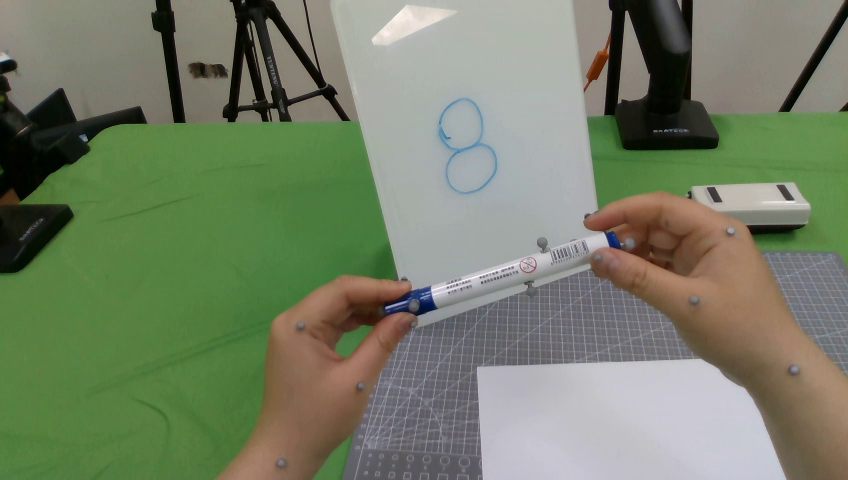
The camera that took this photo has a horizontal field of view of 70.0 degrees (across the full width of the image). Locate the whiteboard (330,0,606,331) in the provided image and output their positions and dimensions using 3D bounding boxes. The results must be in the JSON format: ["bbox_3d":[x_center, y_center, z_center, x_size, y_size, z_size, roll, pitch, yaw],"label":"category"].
[{"bbox_3d":[0.038,-0.102,0.615,0.217,0.307,0.142,-17,19,-13],"label":"whiteboard"}]

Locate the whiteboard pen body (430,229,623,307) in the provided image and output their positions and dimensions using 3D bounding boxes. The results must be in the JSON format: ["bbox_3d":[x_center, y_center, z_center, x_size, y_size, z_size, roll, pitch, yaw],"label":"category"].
[{"bbox_3d":[0.048,0.021,0.364,0.140,0.017,0.017,-18,36,13],"label":"whiteboard pen body"}]

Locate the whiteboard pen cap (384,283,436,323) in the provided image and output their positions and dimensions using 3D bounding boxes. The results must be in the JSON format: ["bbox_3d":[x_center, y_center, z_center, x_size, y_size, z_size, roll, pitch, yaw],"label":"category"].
[{"bbox_3d":[-0.007,0.037,0.375,0.033,0.018,0.018,-22,37,9],"label":"whiteboard pen cap"}]

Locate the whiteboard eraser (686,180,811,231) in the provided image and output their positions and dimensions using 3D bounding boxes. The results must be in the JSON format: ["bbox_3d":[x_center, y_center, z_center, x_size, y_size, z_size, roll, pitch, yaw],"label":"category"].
[{"bbox_3d":[0.347,-0.036,0.654,0.112,0.042,0.055,-1,41,6],"label":"whiteboard eraser"}]
